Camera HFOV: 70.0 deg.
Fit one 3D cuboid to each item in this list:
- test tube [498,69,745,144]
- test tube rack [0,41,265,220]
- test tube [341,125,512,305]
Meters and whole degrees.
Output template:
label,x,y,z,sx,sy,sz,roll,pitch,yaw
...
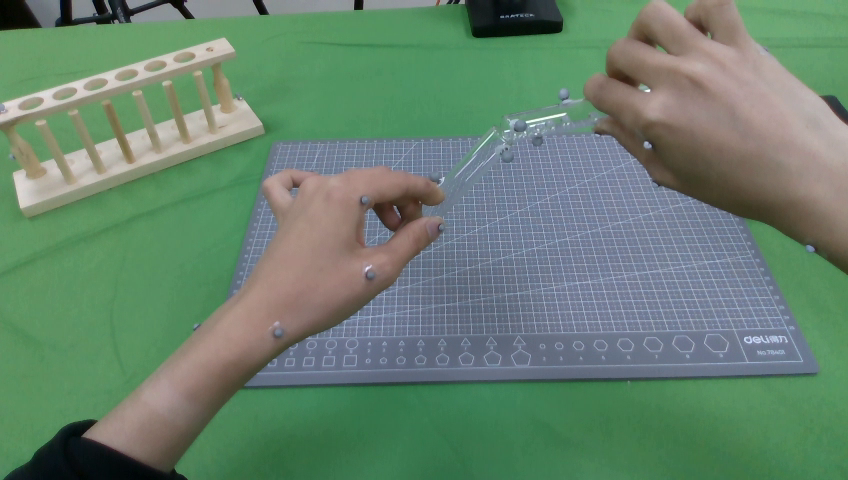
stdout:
label,x,y,z,sx,sy,sz,roll,pitch,yaw
test tube,0.113,-0.076,0.340,0.150,0.017,0.017,-13,46,-11
test tube rack,-0.295,-0.115,0.612,0.242,0.086,0.066,-25,50,-20
test tube,-0.003,-0.009,0.359,0.017,0.151,0.017,34,27,-20
